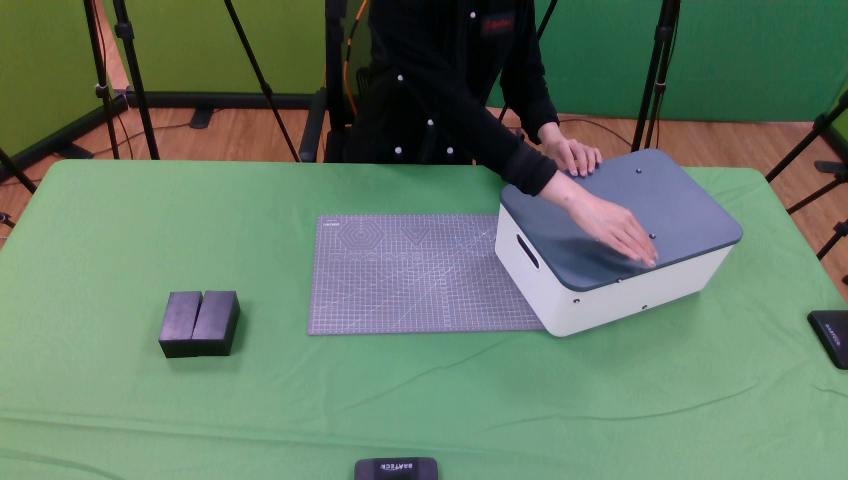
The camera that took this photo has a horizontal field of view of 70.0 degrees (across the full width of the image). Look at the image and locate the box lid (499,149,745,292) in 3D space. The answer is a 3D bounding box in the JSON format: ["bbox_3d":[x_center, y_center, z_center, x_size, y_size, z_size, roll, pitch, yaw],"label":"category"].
[{"bbox_3d":[0.341,-0.048,1.064,0.372,0.015,0.261,-15,49,-18],"label":"box lid"}]

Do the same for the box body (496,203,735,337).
[{"bbox_3d":[0.340,0.003,1.118,0.364,0.161,0.252,-15,49,-18],"label":"box body"}]
